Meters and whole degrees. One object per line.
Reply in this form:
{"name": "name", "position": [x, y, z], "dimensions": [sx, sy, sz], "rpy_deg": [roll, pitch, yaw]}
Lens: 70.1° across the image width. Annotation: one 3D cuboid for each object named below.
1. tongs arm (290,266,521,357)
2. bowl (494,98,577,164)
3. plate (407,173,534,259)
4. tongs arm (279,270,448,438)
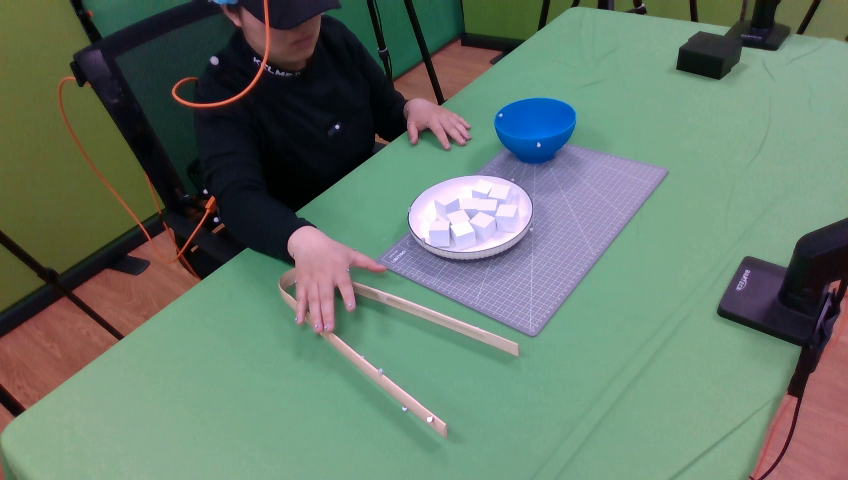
{"name": "tongs arm", "position": [-0.039, 0.097, 0.871], "dimensions": [0.385, 0.028, 0.028], "rpy_deg": [16, 49, 28]}
{"name": "bowl", "position": [0.208, -0.195, 1.128], "dimensions": [0.151, 0.077, 0.150], "rpy_deg": [-5, 40, 5]}
{"name": "plate", "position": [0.076, -0.037, 0.997], "dimensions": [0.207, 0.039, 0.206], "rpy_deg": [-5, 40, 5]}
{"name": "tongs arm", "position": [-0.092, 0.140, 0.824], "dimensions": [0.381, 0.026, 0.051], "rpy_deg": [28, 52, 37]}
